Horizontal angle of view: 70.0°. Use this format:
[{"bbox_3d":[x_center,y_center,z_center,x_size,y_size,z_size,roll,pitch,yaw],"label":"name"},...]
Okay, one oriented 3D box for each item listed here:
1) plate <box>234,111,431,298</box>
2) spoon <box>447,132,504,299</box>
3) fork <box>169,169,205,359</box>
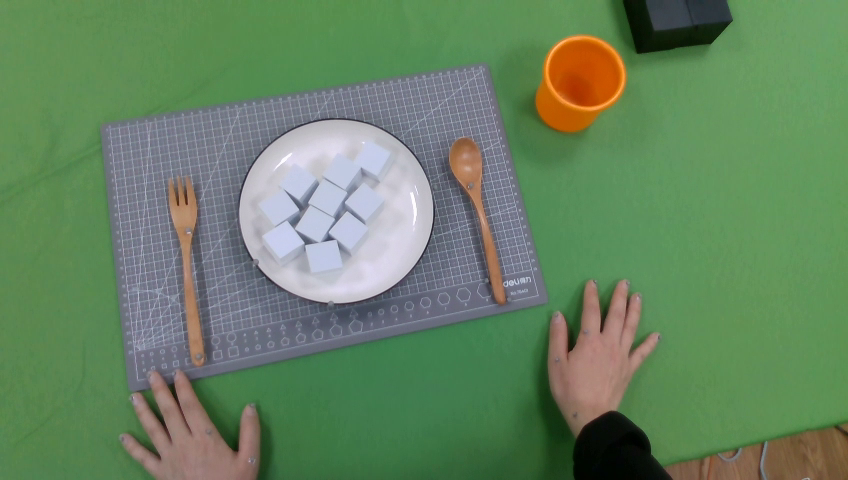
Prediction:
[{"bbox_3d":[-0.097,-0.037,0.660,0.208,0.039,0.206,1,77,-4],"label":"plate"},{"bbox_3d":[0.062,-0.028,0.677,0.042,0.021,0.193,-8,77,-25],"label":"spoon"},{"bbox_3d":[-0.250,0.023,0.644,0.028,0.019,0.206,-8,76,-11],"label":"fork"}]
